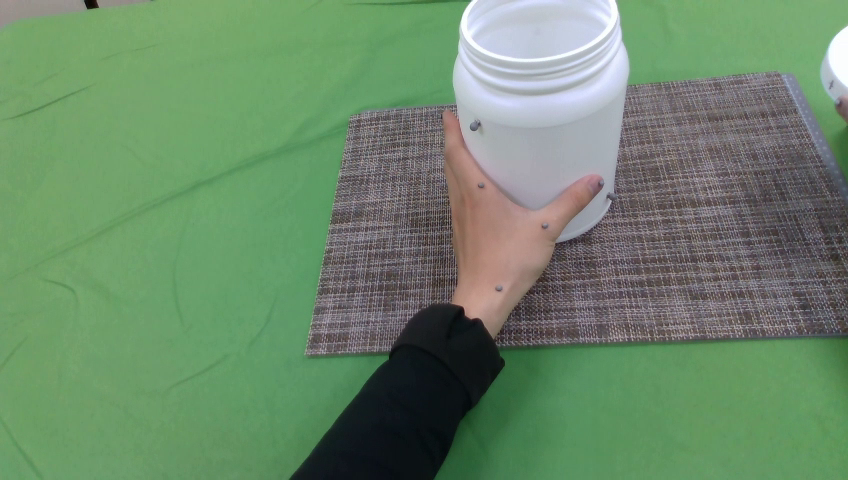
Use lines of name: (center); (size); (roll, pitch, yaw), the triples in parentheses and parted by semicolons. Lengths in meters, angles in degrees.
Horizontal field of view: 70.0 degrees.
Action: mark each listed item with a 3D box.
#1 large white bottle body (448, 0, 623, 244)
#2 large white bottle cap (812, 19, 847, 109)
large white bottle body: (0.089, -0.100, 0.490); (0.130, 0.186, 0.129); (-5, 51, 7)
large white bottle cap: (0.351, -0.129, 0.443); (0.114, 0.018, 0.113); (-7, 53, 9)
